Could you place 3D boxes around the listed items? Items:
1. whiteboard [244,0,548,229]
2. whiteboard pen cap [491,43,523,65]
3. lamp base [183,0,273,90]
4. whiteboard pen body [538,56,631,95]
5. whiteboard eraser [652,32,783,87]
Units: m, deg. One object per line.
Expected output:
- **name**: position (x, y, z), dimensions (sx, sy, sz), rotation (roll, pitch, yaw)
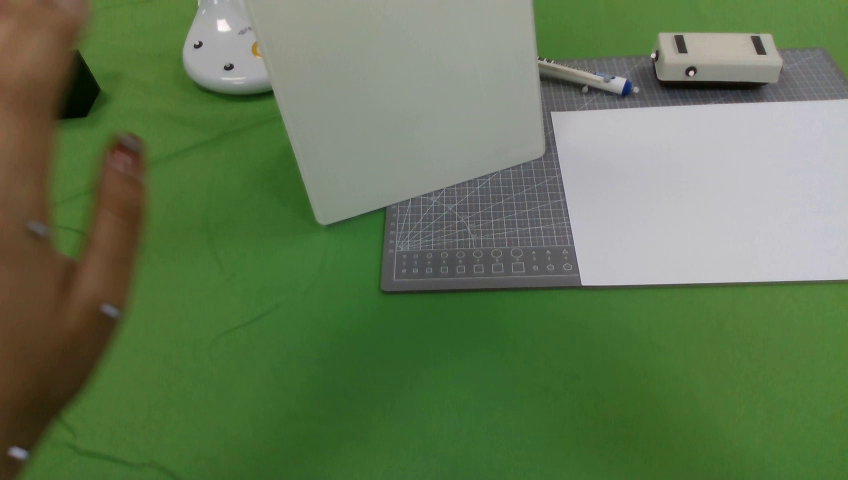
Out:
- **whiteboard**: position (-0.035, -0.201, 0.510), dimensions (0.217, 0.308, 0.142), rotation (-18, 32, -9)
- **whiteboard pen cap**: position (0.088, -0.194, 0.632), dimensions (0.033, 0.018, 0.018), rotation (20, 54, 14)
- **lamp base**: position (-0.203, -0.275, 0.628), dimensions (0.177, 0.182, 0.160), rotation (32, 59, 30)
- **whiteboard pen body**: position (0.140, -0.173, 0.616), dimensions (0.140, 0.017, 0.017), rotation (20, 55, 16)
- **whiteboard eraser**: position (0.285, -0.177, 0.595), dimensions (0.112, 0.042, 0.055), rotation (2, 49, 6)
